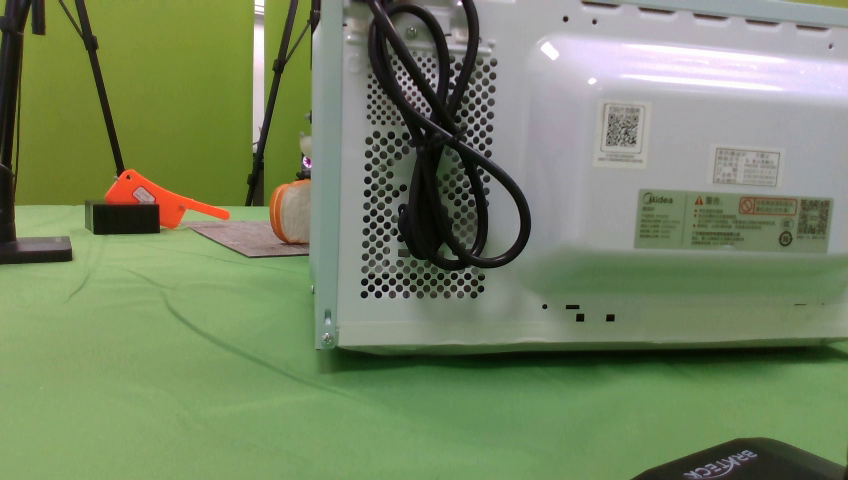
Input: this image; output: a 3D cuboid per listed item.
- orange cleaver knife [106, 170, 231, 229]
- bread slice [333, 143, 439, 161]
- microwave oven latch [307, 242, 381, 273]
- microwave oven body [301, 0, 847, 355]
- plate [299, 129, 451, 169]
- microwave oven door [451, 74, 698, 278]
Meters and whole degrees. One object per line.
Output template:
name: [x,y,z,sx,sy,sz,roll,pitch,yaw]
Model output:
orange cleaver knife: [-0.458,-0.060,1.097,0.212,0.077,0.012,23,-4,-38]
bread slice: [-0.044,-0.123,0.842,0.107,0.018,0.133,-9,9,-41]
microwave oven latch: [-0.086,0.019,0.656,0.079,0.029,0.030,2,7,-10]
microwave oven body: [0.120,-0.053,0.535,0.443,0.260,0.325,2,7,-11]
plate: [-0.066,-0.120,0.830,0.208,0.039,0.207,-2,3,0]
microwave oven door: [0.183,-0.094,0.835,0.354,0.243,0.039,9,10,44]
